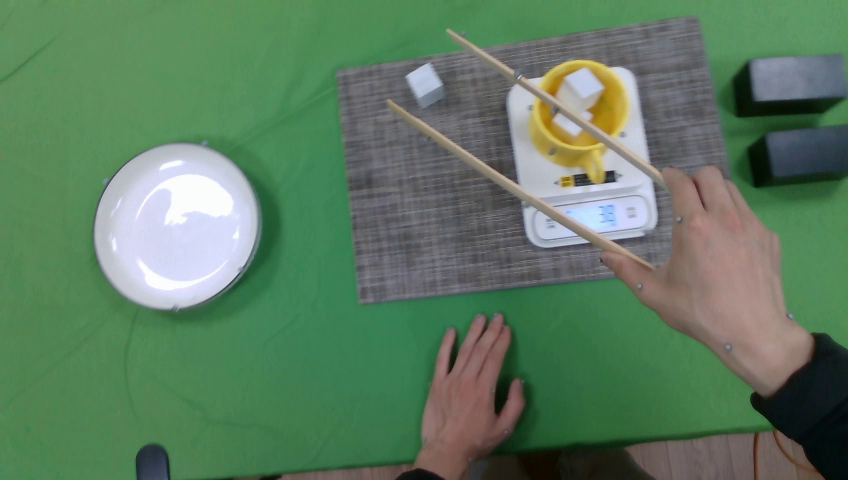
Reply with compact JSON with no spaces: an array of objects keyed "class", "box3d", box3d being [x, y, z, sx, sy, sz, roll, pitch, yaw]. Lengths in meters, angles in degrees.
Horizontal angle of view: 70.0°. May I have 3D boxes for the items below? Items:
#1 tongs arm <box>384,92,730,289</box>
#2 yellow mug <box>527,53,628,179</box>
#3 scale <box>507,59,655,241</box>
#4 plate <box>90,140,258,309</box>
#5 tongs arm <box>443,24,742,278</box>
[{"class":"tongs arm","box3d":[0.090,-0.059,0.554,0.383,0.028,0.028,37,85,34]},{"class":"yellow mug","box3d":[0.170,-0.130,0.664,0.100,0.064,0.130,-17,82,2]},{"class":"scale","box3d":[0.182,-0.106,0.707,0.148,0.031,0.200,-8,82,5]},{"class":"plate","box3d":[-0.302,-0.018,0.745,0.207,0.039,0.207,-1,82,5]},{"class":"tongs arm","box3d":[0.127,-0.101,0.551,0.051,0.027,0.380,-48,57,2]}]
